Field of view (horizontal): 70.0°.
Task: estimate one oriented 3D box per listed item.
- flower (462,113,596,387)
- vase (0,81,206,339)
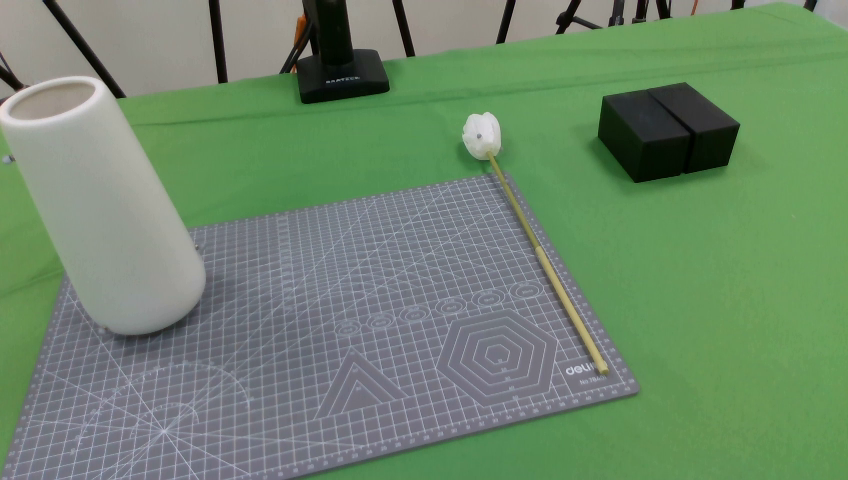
[{"bbox_3d":[0.095,-0.013,0.582,0.044,0.038,0.357,-33,43,17],"label":"flower"},{"bbox_3d":[-0.240,-0.016,0.469,0.098,0.202,0.097,-2,39,2],"label":"vase"}]
